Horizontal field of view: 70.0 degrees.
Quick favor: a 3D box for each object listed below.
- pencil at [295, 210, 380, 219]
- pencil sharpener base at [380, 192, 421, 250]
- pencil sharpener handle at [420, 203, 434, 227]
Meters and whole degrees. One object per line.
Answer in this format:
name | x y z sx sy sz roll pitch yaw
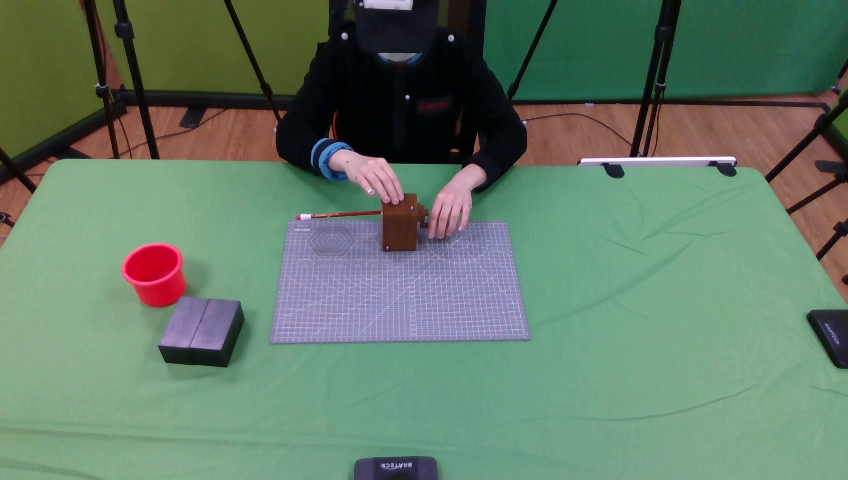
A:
pencil | -0.147 -0.050 1.144 0.194 0.012 0.012 -3 46 3
pencil sharpener base | -0.046 -0.035 1.163 0.077 0.107 0.061 0 46 -5
pencil sharpener handle | 0.006 -0.046 1.161 0.031 0.068 0.036 0 58 -5
